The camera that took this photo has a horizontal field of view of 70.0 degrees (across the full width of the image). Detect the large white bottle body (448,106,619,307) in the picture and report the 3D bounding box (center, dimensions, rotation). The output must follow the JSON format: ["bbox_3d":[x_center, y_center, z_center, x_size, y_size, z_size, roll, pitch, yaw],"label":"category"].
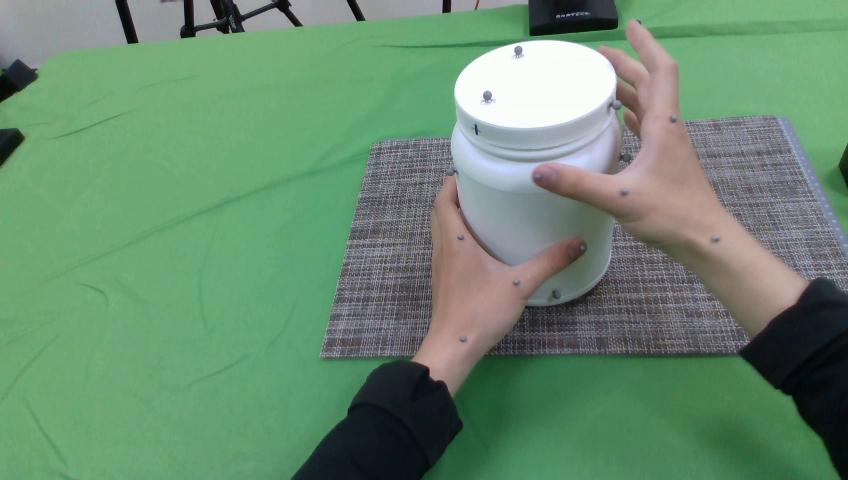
[{"bbox_3d":[0.090,-0.047,0.500,0.130,0.186,0.129,-6,45,7],"label":"large white bottle body"}]

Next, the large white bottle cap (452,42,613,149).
[{"bbox_3d":[0.077,-0.107,0.438,0.115,0.018,0.113,-6,46,6],"label":"large white bottle cap"}]
